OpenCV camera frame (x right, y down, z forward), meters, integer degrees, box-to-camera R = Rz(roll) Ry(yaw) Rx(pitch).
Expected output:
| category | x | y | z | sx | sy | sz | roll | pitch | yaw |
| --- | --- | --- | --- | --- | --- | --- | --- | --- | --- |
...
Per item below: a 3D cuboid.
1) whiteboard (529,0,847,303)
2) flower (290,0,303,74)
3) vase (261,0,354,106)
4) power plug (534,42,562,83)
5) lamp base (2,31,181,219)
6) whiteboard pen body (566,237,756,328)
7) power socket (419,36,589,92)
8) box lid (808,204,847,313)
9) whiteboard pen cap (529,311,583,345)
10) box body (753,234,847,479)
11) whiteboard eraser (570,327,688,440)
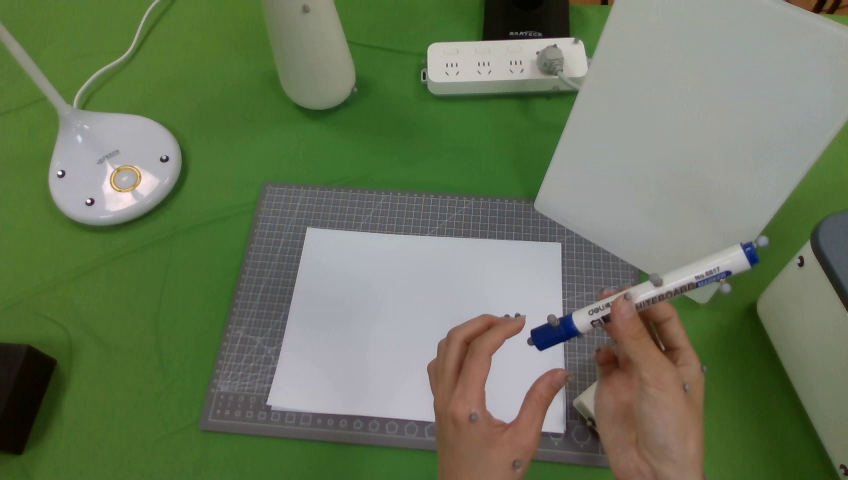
| category | x | y | z | sx | sy | sz | roll | pitch | yaw |
| --- | --- | --- | --- | --- | --- | --- | --- | --- | --- |
| whiteboard | 0.277 | -0.125 | 0.625 | 0.216 | 0.307 | 0.143 | 33 | 47 | 18 |
| flower | -0.129 | -0.285 | 0.653 | 0.044 | 0.362 | 0.038 | -36 | 84 | -25 |
| vase | -0.145 | -0.256 | 0.731 | 0.098 | 0.201 | 0.097 | -1 | 62 | 3 |
| power plug | 0.157 | -0.220 | 0.772 | 0.035 | 0.053 | 0.072 | 9 | 69 | 6 |
| lamp base | -0.396 | -0.138 | 0.687 | 0.178 | 0.182 | 0.160 | 34 | 68 | 21 |
| whiteboard pen body | 0.135 | 0.033 | 0.381 | 0.140 | 0.017 | 0.017 | -28 | 58 | 26 |
| power socket | 0.106 | -0.235 | 0.806 | 0.227 | 0.033 | 0.071 | -1 | 63 | 1 |
| box lid | 0.494 | 0.106 | 0.459 | 0.263 | 0.015 | 0.368 | -13 | 63 | -4 |
| whiteboard pen cap | 0.089 | 0.058 | 0.407 | 0.033 | 0.018 | 0.018 | -27 | 57 | 30 |
| box body | 0.496 | 0.144 | 0.524 | 0.254 | 0.161 | 0.360 | -13 | 63 | -5 |
| whiteboard eraser | 0.202 | 0.141 | 0.600 | 0.112 | 0.042 | 0.055 | -36 | 66 | -16 |
